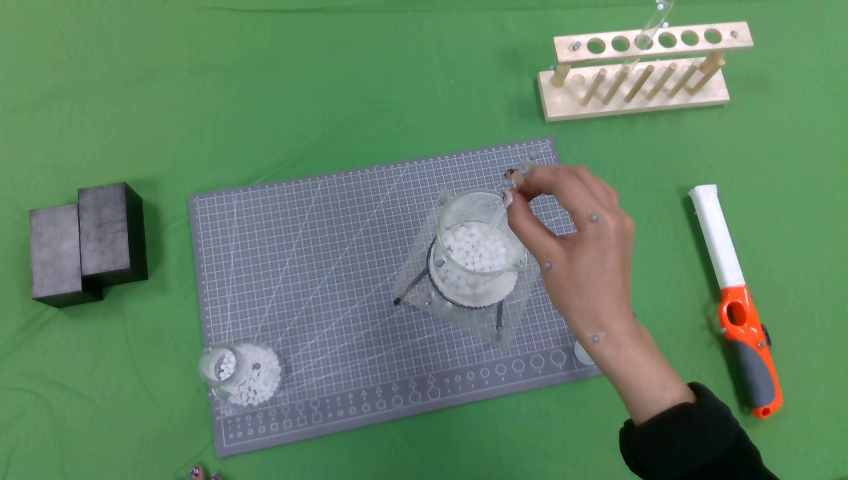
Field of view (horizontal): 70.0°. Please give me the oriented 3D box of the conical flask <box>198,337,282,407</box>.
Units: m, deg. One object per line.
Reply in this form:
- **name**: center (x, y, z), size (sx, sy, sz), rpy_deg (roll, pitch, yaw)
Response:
- **conical flask**: center (-0.188, 0.127, 0.604), size (0.075, 0.122, 0.075), rpy_deg (1, 73, -3)

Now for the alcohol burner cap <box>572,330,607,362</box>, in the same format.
- **alcohol burner cap**: center (0.187, 0.116, 0.674), size (0.034, 0.048, 0.033), rpy_deg (1, 72, -3)

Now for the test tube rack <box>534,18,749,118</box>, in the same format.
- **test tube rack**: center (0.269, -0.213, 0.755), size (0.243, 0.085, 0.066), rpy_deg (-7, 74, -5)

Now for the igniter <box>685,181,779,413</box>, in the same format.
- **igniter**: center (0.361, 0.061, 0.712), size (0.057, 0.025, 0.275), rpy_deg (-5, 74, -16)

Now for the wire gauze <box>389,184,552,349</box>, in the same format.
- **wire gauze**: center (0.045, 0.022, 0.575), size (0.125, 0.011, 0.121), rpy_deg (26, 77, 2)

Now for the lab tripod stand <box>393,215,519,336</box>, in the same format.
- **lab tripod stand**: center (0.039, 0.039, 0.639), size (0.148, 0.132, 0.147), rpy_deg (1, 75, -2)

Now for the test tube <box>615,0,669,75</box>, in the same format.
- **test tube**: center (0.253, -0.239, 0.710), size (0.017, 0.151, 0.017), rpy_deg (0, 74, -1)

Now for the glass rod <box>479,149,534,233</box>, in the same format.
- **glass rod**: center (0.061, -0.033, 0.480), size (0.008, 0.200, 0.008), rpy_deg (1, 77, -3)

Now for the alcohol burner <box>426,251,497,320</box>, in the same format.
- **alcohol burner**: center (0.041, 0.045, 0.647), size (0.078, 0.119, 0.077), rpy_deg (1, 75, -2)

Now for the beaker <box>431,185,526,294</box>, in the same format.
- **beaker**: center (0.045, 0.006, 0.530), size (0.084, 0.100, 0.074), rpy_deg (39, 76, 8)
